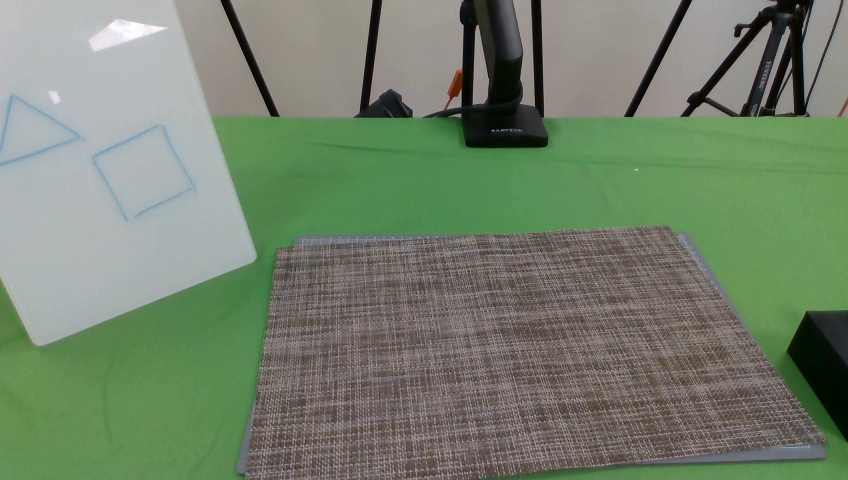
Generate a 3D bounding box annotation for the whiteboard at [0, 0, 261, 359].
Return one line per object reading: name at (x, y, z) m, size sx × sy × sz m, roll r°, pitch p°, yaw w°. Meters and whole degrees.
whiteboard at (-0.328, -0.083, 0.598) m, size 0.217 × 0.307 × 0.142 m, roll -24°, pitch 24°, yaw -29°
